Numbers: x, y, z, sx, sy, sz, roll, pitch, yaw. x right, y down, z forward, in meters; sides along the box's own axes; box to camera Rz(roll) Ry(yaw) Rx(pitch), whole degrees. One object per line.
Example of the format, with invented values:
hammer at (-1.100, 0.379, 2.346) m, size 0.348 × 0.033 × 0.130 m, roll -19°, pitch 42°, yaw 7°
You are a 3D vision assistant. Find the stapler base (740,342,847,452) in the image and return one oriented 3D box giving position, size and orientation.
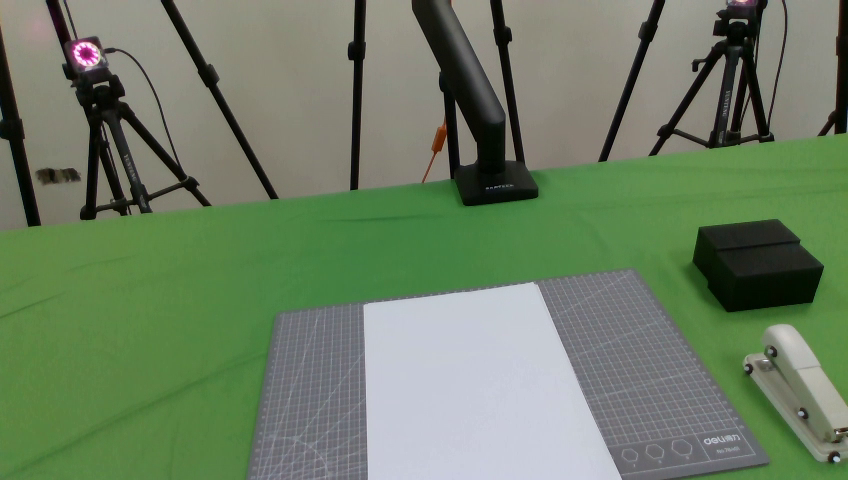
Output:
stapler base at (0.345, 0.136, 0.562) m, size 0.041 × 0.024 × 0.129 m, roll -9°, pitch 35°, yaw -3°

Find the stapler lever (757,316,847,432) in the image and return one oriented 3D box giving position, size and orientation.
stapler lever at (0.344, 0.116, 0.547) m, size 0.027 × 0.040 × 0.117 m, roll -9°, pitch 35°, yaw -2°
